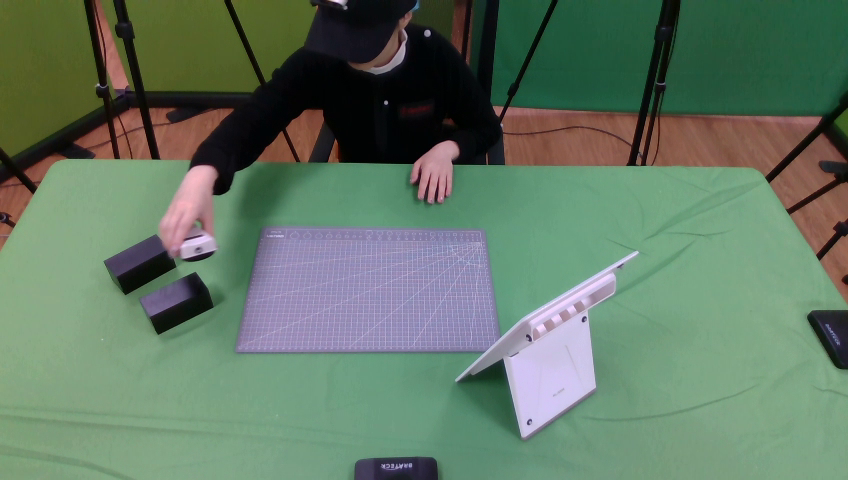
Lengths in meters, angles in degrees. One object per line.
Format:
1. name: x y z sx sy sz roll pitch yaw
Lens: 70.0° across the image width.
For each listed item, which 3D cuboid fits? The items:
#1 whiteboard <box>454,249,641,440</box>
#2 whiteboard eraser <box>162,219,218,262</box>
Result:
1. whiteboard: 0.206 0.174 0.890 0.217 0.306 0.143 -24 72 -25
2. whiteboard eraser: -0.390 0.001 1.007 0.055 0.042 0.112 -22 33 -33
